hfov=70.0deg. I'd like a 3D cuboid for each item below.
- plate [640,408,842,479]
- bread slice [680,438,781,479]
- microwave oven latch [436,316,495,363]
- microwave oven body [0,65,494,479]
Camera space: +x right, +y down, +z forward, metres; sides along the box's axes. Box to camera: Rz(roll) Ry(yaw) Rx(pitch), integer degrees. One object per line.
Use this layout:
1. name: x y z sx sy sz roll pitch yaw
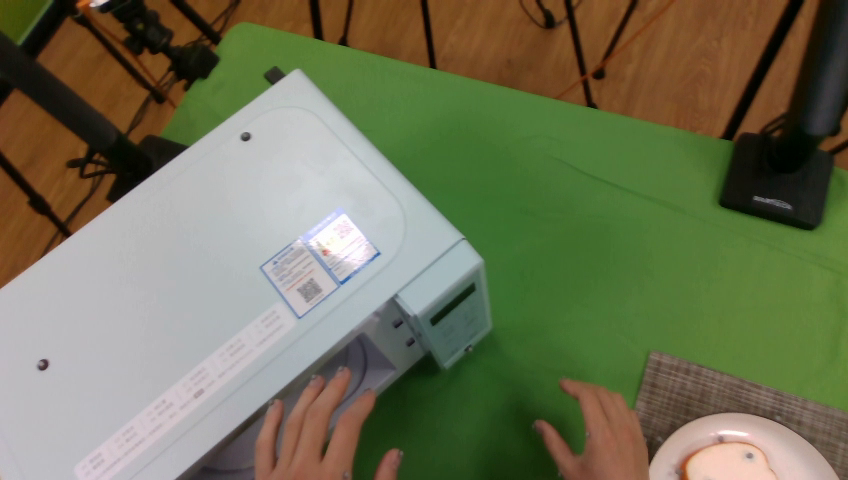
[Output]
1. plate: 0.329 0.283 0.630 0.207 0.039 0.206 -3 67 7
2. bread slice: 0.328 0.277 0.634 0.105 0.019 0.130 -11 67 3
3. microwave oven latch: 0.050 0.112 0.728 0.079 0.030 0.030 -39 68 -7
4. microwave oven body: -0.193 0.088 0.668 0.441 0.262 0.323 -40 68 -8
